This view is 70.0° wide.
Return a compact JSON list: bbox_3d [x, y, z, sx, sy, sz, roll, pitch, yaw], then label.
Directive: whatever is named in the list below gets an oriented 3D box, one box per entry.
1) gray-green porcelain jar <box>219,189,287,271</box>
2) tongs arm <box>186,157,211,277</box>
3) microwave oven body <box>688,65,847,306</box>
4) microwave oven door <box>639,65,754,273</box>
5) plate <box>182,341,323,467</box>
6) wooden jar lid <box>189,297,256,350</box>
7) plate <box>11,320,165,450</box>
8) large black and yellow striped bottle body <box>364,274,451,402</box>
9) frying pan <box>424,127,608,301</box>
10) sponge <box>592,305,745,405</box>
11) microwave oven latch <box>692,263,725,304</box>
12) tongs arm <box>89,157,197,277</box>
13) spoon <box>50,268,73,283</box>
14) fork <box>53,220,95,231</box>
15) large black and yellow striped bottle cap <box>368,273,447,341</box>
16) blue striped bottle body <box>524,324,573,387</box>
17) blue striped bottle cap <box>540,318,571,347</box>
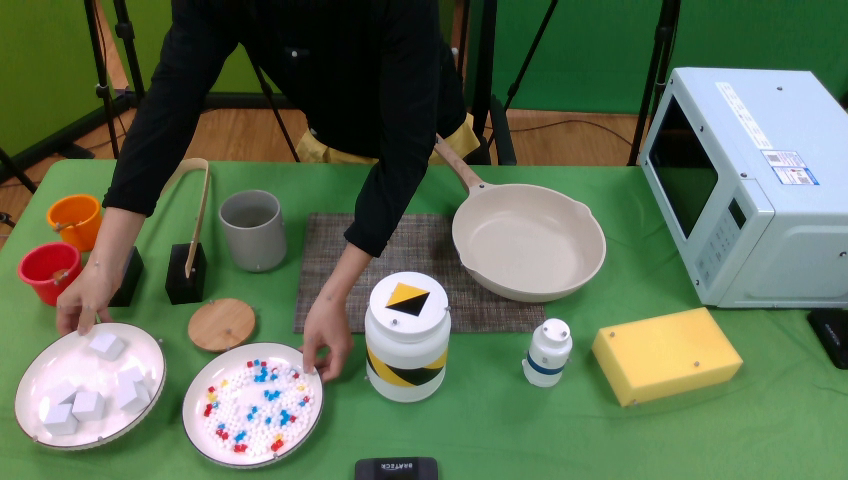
[{"bbox_3d":[-0.309,-0.014,1.113,0.106,0.127,0.105,2,46,-2],"label":"gray-green porcelain jar"},{"bbox_3d":[-0.445,-0.058,1.168,0.051,0.026,0.382,-4,37,-7],"label":"tongs arm"},{"bbox_3d":[0.669,-0.111,1.176,0.326,0.261,0.439,0,46,-3],"label":"microwave oven body"},{"bbox_3d":[0.522,-0.147,1.193,0.039,0.245,0.353,0,47,-3],"label":"microwave oven door"},{"bbox_3d":[-0.257,0.250,0.927,0.209,0.038,0.208,2,46,-2],"label":"plate"},{"bbox_3d":[-0.342,0.145,1.033,0.108,0.021,0.107,3,45,-2],"label":"wooden jar lid"},{"bbox_3d":[-0.491,0.215,0.901,0.208,0.039,0.206,1,49,-1],"label":"plate"},{"bbox_3d":[-0.026,0.151,0.937,0.131,0.185,0.130,2,47,-2],"label":"large black and yellow striped bottle body"},{"bbox_3d":[0.143,-0.070,1.209,0.307,0.103,0.485,-23,61,-25],"label":"frying pan"},{"bbox_3d":[0.405,0.190,1.014,0.207,0.061,0.117,-10,48,-12],"label":"sponge"},{"bbox_3d":[0.522,0.081,1.115,0.030,0.029,0.078,1,46,-2],"label":"microwave oven latch"},{"bbox_3d":[-0.530,-0.059,1.162,0.028,0.028,0.385,2,36,7],"label":"tongs arm"},{"bbox_3d":[-0.608,0.059,1.011,0.041,0.021,0.193,-30,11,-27],"label":"spoon"},{"bbox_3d":[-0.627,-0.026,1.086,0.028,0.207,0.018,1,91,-15],"label":"fork"},{"bbox_3d":[-0.023,0.094,0.875,0.115,0.019,0.114,2,45,-2],"label":"large black and yellow striped bottle cap"},{"bbox_3d":[0.200,0.178,0.970,0.063,0.121,0.062,2,46,-2],"label":"blue striped bottle body"},{"bbox_3d":[0.203,0.142,0.933,0.044,0.021,0.044,3,49,-4],"label":"blue striped bottle cap"}]
